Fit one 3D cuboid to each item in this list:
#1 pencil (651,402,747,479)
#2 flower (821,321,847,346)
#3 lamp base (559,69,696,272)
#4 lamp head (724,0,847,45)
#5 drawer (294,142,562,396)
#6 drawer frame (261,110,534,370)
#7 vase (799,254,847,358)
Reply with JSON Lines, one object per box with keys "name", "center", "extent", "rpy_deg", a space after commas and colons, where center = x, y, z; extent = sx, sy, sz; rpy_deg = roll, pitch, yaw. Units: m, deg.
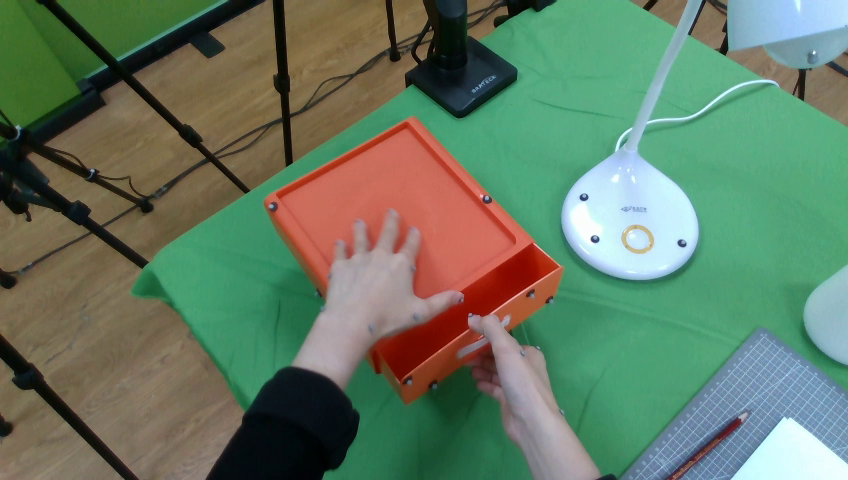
{"name": "pencil", "center": [0.250, 0.214, 0.589], "extent": [0.194, 0.012, 0.012], "rpy_deg": [-31, 62, -17]}
{"name": "flower", "center": [0.461, -0.011, 0.512], "extent": [0.038, 0.364, 0.044], "rpy_deg": [31, 47, 12]}
{"name": "lamp base", "center": [0.239, -0.083, 0.672], "extent": [0.161, 0.182, 0.177], "rpy_deg": [-8, 56, -2]}
{"name": "lamp head", "center": [0.254, -0.200, 0.403], "extent": [0.112, 0.112, 0.123], "rpy_deg": [-14, 97, -6]}
{"name": "drawer", "center": [-0.003, 0.019, 0.624], "extent": [0.194, 0.074, 0.210], "rpy_deg": [-33, 64, -16]}
{"name": "drawer frame", "center": [-0.029, -0.006, 0.646], "extent": [0.201, 0.083, 0.211], "rpy_deg": [-33, 65, -16]}
{"name": "vase", "center": [0.447, 0.038, 0.579], "extent": [0.098, 0.202, 0.097], "rpy_deg": [-2, 57, 3]}
